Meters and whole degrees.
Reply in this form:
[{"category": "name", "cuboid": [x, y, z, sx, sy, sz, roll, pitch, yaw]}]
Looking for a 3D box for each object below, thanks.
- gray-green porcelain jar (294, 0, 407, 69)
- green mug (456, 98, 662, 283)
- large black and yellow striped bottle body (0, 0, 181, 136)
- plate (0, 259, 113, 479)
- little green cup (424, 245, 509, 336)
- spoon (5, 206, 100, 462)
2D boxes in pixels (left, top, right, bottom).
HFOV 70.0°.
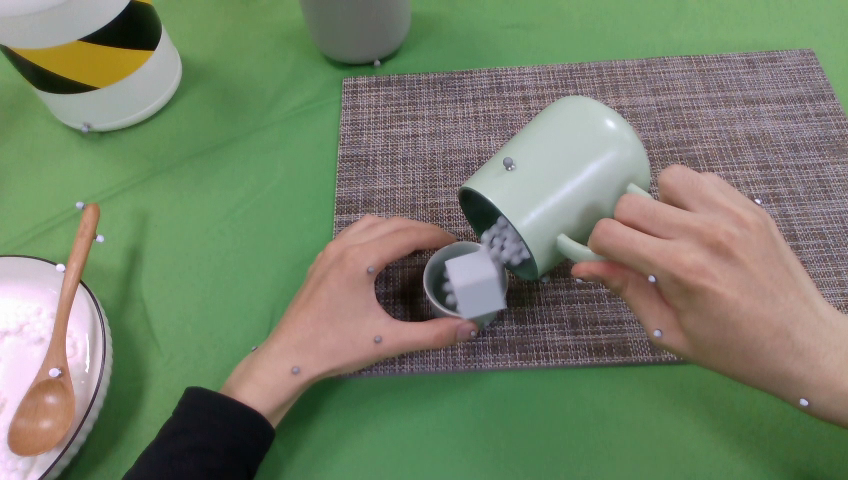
[{"category": "gray-green porcelain jar", "cuboid": [-0.070, -0.236, 0.569, 0.106, 0.127, 0.105, -1, 59, 3]}, {"category": "green mug", "cuboid": [0.096, -0.027, 0.398, 0.105, 0.093, 0.124, -39, 42, -12]}, {"category": "large black and yellow striped bottle body", "cuboid": [-0.310, -0.196, 0.525, 0.131, 0.185, 0.129, -2, 59, 3]}, {"category": "plate", "cuboid": [-0.321, 0.111, 0.428, 0.209, 0.038, 0.207, -1, 59, 3]}, {"category": "little green cup", "cuboid": [0.030, 0.039, 0.444, 0.061, 0.039, 0.061, 0, 56, 0]}, {"category": "spoon", "cuboid": [-0.259, 0.059, 0.437, 0.041, 0.022, 0.192, -1, 67, 2]}]
